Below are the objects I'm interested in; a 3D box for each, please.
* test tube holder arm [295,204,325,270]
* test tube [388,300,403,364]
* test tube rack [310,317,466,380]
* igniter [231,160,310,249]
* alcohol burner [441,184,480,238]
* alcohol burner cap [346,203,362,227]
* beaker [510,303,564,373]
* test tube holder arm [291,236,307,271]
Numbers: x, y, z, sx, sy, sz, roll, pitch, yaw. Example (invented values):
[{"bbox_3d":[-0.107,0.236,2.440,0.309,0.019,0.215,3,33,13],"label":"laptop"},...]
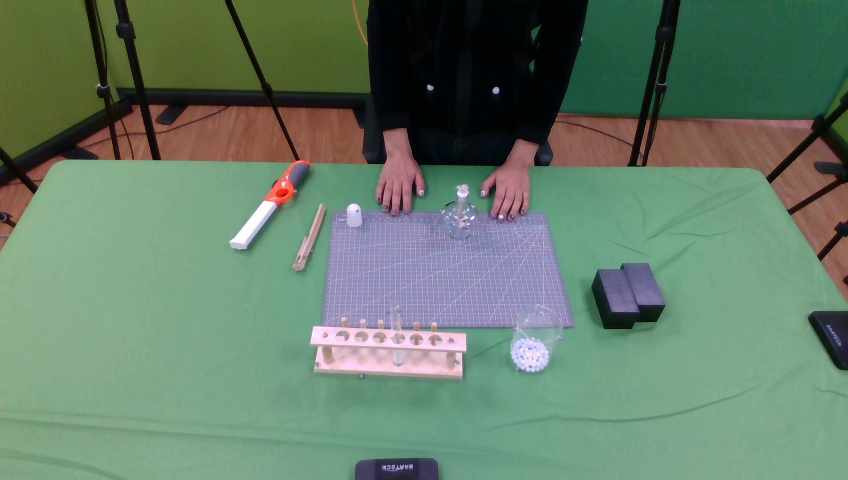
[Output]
[{"bbox_3d":[-0.222,-0.009,1.192,0.013,0.015,0.177,-18,38,27],"label":"test tube holder arm"},{"bbox_3d":[-0.044,0.146,0.942,0.017,0.151,0.017,-1,44,1],"label":"test tube"},{"bbox_3d":[-0.056,0.171,0.987,0.242,0.085,0.066,3,45,-1],"label":"test tube rack"},{"bbox_3d":[-0.311,-0.081,1.250,0.057,0.025,0.275,9,45,18],"label":"igniter"},{"bbox_3d":[0.073,-0.061,1.195,0.078,0.120,0.077,1,47,-1],"label":"alcohol burner"},{"bbox_3d":[-0.141,-0.053,1.222,0.034,0.048,0.033,2,47,-2],"label":"alcohol burner cap"},{"bbox_3d":[0.182,0.164,1.000,0.074,0.101,0.083,2,46,-1],"label":"beaker"},{"bbox_3d":[-0.234,0.024,1.163,0.010,0.015,0.087,-17,38,29],"label":"test tube holder arm"}]
